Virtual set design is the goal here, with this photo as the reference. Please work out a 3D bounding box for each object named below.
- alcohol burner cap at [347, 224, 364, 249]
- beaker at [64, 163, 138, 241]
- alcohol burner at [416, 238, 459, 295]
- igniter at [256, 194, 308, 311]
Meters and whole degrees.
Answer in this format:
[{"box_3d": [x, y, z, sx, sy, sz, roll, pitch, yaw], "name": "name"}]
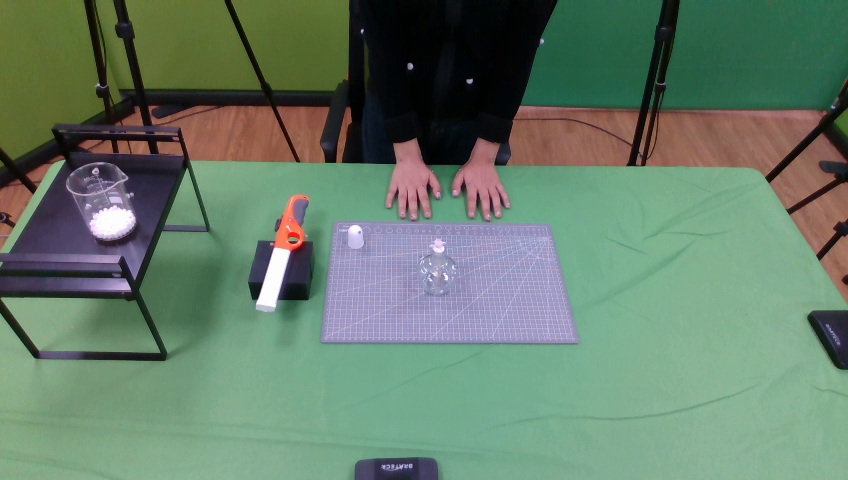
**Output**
[{"box_3d": [-0.134, -0.011, 1.177, 0.034, 0.048, 0.033, 2, 47, -2], "name": "alcohol burner cap"}, {"box_3d": [-0.477, -0.055, 0.910, 0.084, 0.101, 0.073, -9, 48, -13], "name": "beaker"}, {"box_3d": [0.024, 0.042, 1.088, 0.078, 0.120, 0.077, 1, 46, 0], "name": "alcohol burner"}, {"box_3d": [-0.254, 0.012, 1.096, 0.057, 0.025, 0.275, 13, 46, -8], "name": "igniter"}]
